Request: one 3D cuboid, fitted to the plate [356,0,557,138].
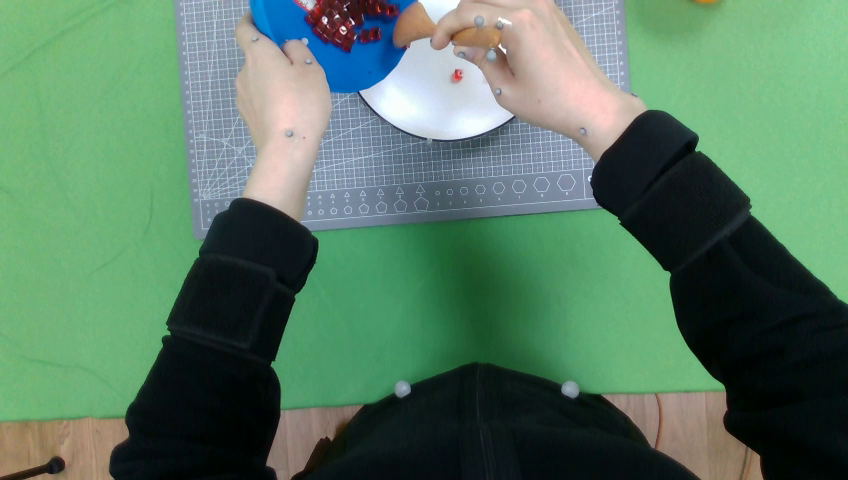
[{"bbox_3d":[0.023,-0.202,0.589,0.209,0.038,0.209,0,92,3],"label":"plate"}]

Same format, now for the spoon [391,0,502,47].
[{"bbox_3d":[0.013,-0.155,0.442,0.022,0.191,0.041,25,99,-32],"label":"spoon"}]

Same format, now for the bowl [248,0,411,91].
[{"bbox_3d":[-0.087,-0.204,0.499,0.076,0.153,0.151,24,93,43],"label":"bowl"}]
